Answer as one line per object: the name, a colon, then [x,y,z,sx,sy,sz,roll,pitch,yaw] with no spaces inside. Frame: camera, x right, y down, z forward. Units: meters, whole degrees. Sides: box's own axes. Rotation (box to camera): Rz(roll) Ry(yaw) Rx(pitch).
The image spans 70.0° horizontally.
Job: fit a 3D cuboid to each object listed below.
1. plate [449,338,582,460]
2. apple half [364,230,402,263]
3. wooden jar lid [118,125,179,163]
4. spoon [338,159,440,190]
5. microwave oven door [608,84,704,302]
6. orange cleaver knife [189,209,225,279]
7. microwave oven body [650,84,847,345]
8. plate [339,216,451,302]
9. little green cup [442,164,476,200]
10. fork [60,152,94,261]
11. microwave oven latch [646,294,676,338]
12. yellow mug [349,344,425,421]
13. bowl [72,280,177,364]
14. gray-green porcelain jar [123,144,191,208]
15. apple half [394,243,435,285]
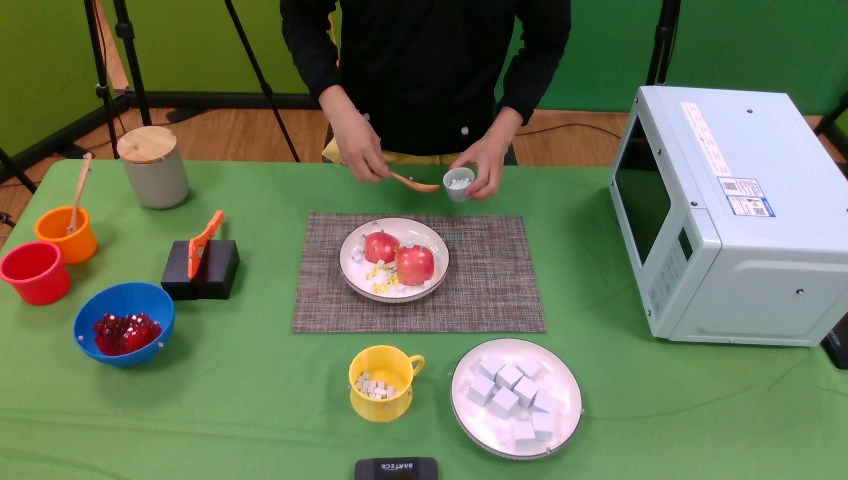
plate: [0.141,0.251,0.956,0.208,0.039,0.206,2,47,-2]
apple half: [-0.079,0.004,1.160,0.081,0.033,0.081,3,50,-3]
wooden jar lid: [-0.528,-0.181,1.167,0.108,0.021,0.107,4,48,-4]
spoon: [-0.065,-0.123,1.116,0.193,0.022,0.041,19,21,4]
microwave oven door: [0.424,-0.096,1.138,0.039,0.245,0.353,3,46,-1]
orange cleaver knife: [-0.400,0.002,1.122,0.012,0.077,0.210,4,23,-4]
microwave oven body: [0.569,-0.054,1.116,0.326,0.261,0.439,2,46,-1]
plate: [-0.054,0.038,1.138,0.209,0.038,0.208,2,46,-2]
little green cup: [0.068,-0.108,1.154,0.061,0.039,0.061,-24,44,25]
fork: [-0.638,-0.063,1.119,0.028,0.018,0.207,12,90,7]
microwave oven latch: [0.412,0.133,1.060,0.030,0.029,0.078,3,46,0]
yellow mug: [-0.054,0.217,0.954,0.131,0.064,0.099,-24,53,-25]
bowl: [-0.472,0.147,0.982,0.151,0.077,0.150,2,46,-2]
gray-green porcelain jar: [-0.530,-0.137,1.213,0.106,0.127,0.105,2,46,-2]
apple half: [-0.017,0.037,1.121,0.075,0.053,0.080,1,45,-6]
